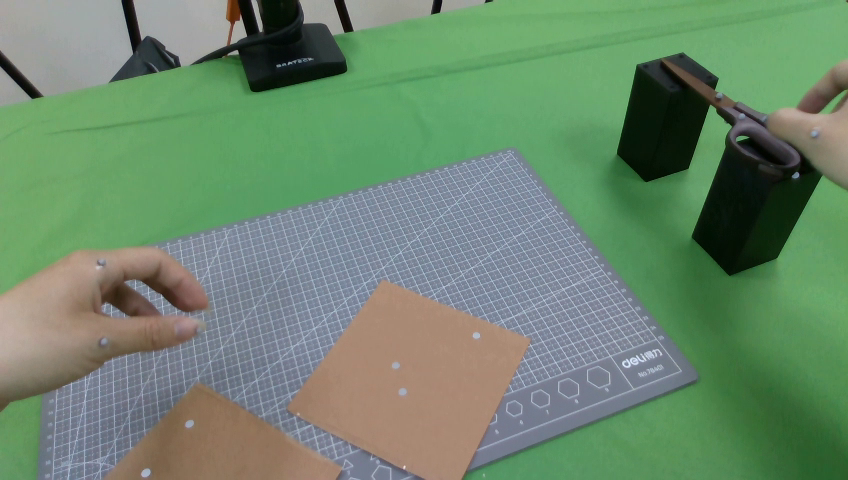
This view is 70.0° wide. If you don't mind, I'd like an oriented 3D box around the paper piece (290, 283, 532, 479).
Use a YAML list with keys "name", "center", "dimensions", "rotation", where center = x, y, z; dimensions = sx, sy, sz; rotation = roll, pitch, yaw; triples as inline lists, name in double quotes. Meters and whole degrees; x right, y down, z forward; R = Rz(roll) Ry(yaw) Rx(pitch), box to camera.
- name: "paper piece"
  center: [-0.006, 0.099, 0.445]
  dimensions: [0.134, 0.004, 0.135]
  rotation: [20, 50, 22]

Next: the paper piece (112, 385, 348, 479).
- name: "paper piece"
  center: [-0.142, 0.171, 0.385]
  dimensions: [0.135, 0.009, 0.138]
  rotation: [20, 52, 26]

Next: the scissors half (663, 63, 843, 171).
- name: "scissors half"
  center: [0.257, -0.107, 0.490]
  dimensions: [0.040, 0.013, 0.173]
  rotation: [-28, 49, -15]

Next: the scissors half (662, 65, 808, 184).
- name: "scissors half"
  center: [0.238, -0.100, 0.486]
  dimensions: [0.040, 0.013, 0.173]
  rotation: [-12, 45, -7]
